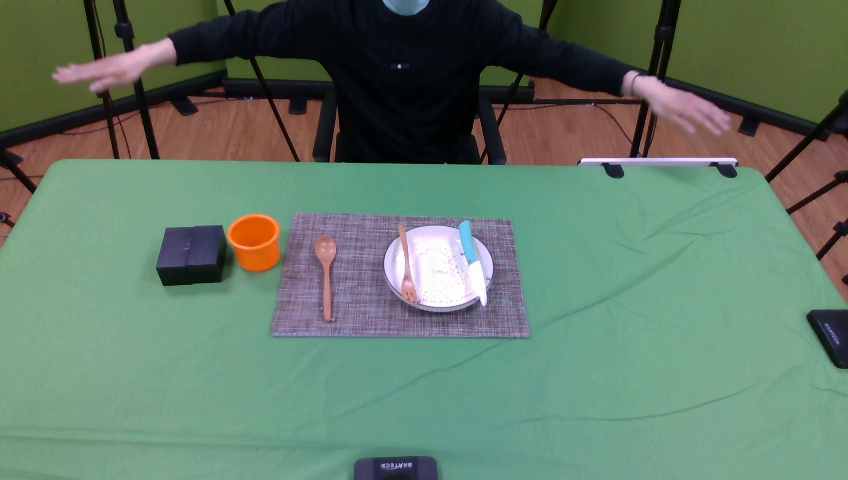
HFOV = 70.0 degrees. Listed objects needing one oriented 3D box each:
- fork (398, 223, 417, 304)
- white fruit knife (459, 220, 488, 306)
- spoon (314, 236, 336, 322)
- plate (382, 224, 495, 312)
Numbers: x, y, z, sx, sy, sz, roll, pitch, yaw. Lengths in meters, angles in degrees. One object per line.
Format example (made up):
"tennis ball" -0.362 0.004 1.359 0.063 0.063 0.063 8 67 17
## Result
"fork" -0.033 0.039 1.110 0.028 0.019 0.206 4 46 -13
"white fruit knife" 0.091 0.039 1.118 0.027 0.016 0.206 -2 47 -10
"spoon" -0.180 0.068 1.111 0.042 0.022 0.192 9 43 -20
"plate" 0.026 0.055 1.128 0.209 0.038 0.208 2 46 -2
